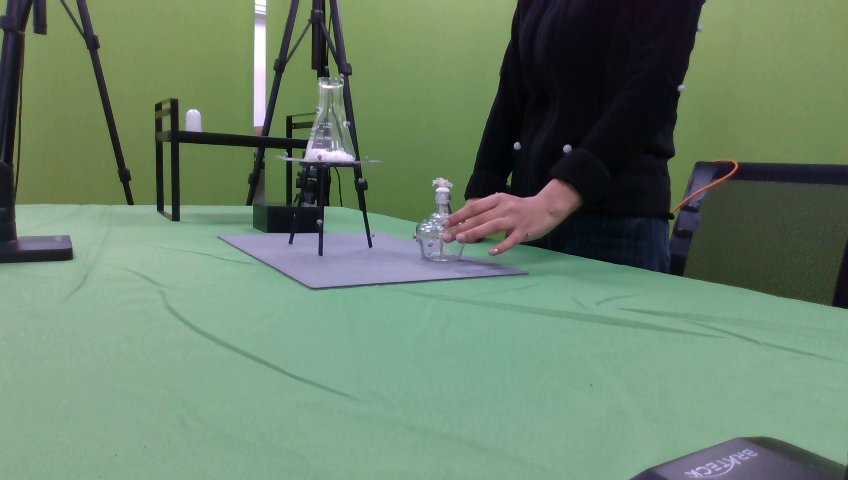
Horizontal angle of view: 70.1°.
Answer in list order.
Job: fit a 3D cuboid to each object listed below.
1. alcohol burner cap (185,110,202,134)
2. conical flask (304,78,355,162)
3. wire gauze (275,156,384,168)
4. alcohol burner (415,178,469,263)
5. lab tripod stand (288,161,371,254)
[{"bbox_3d":[-0.470,-0.241,1.234,0.034,0.048,0.034,4,7,0],"label":"alcohol burner cap"},{"bbox_3d":[-0.139,-0.175,0.893,0.075,0.122,0.075,2,8,0],"label":"conical flask"},{"bbox_3d":[-0.142,-0.116,0.900,0.122,0.011,0.124,-1,5,-37],"label":"wire gauze"},{"bbox_3d":[0.026,-0.028,0.863,0.078,0.119,0.078,1,6,0],"label":"alcohol burner"},{"bbox_3d":[-0.148,-0.052,0.909,0.148,0.131,0.148,1,8,0],"label":"lab tripod stand"}]
